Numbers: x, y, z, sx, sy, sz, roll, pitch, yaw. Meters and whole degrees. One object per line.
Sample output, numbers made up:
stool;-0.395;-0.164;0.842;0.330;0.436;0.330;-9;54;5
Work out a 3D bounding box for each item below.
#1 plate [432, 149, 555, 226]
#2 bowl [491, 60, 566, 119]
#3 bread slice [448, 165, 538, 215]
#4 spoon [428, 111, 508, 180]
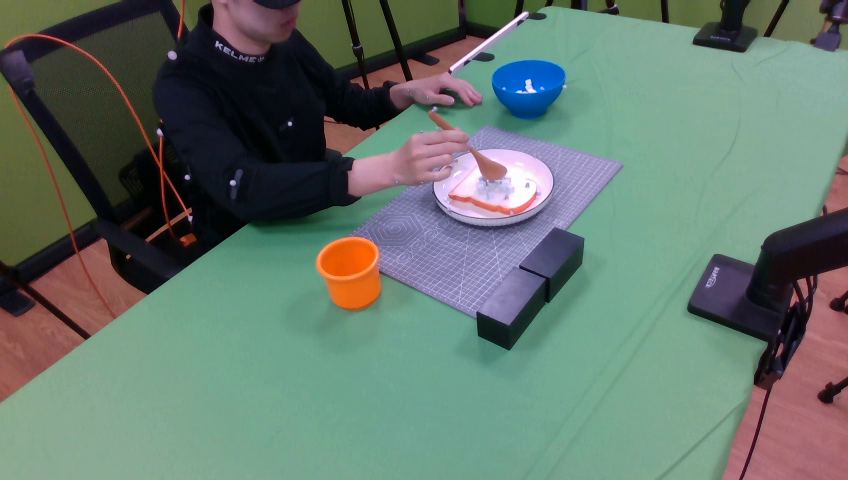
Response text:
plate;0.120;-0.087;1.037;0.209;0.038;0.208;-4;40;4
bowl;0.215;-0.302;1.248;0.151;0.077;0.150;-4;40;4
bread slice;0.126;-0.085;1.037;0.133;0.018;0.107;17;46;27
spoon;0.070;-0.147;0.956;0.041;0.195;0.021;-27;43;33
